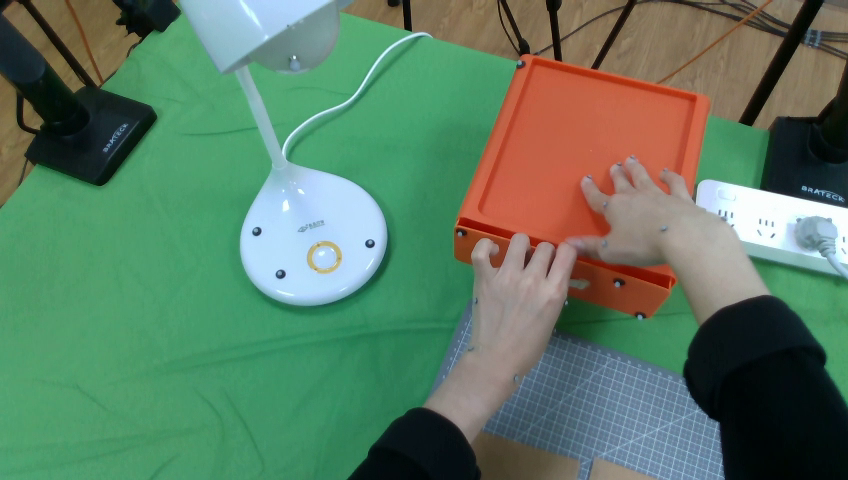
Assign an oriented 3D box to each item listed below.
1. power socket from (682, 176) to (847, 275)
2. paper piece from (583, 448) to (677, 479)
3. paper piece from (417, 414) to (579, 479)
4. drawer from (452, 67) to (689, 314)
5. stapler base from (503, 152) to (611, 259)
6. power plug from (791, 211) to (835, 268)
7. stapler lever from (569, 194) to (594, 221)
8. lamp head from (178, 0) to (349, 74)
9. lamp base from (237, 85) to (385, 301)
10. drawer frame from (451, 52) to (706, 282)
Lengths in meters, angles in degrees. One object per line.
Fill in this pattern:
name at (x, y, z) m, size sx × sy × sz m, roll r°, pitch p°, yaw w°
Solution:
power socket at (0.388, -0.014, 0.649) m, size 0.226 × 0.033 × 0.072 m, roll 14°, pitch 64°, yaw 9°
paper piece at (0.192, 0.267, 0.517) m, size 0.135 × 0.004 × 0.135 m, roll 18°, pitch 64°, yaw 12°
paper piece at (0.057, 0.237, 0.537) m, size 0.135 × 0.009 × 0.137 m, roll 14°, pitch 65°, yaw 13°
drawer at (0.152, -0.055, 0.599) m, size 0.194 × 0.074 × 0.210 m, roll 17°, pitch 64°, yaw 11°
stapler base at (0.132, -0.039, 0.611) m, size 0.041 × 0.024 × 0.129 m, roll -41°, pitch 66°, yaw 3°
power plug at (0.388, 0.002, 0.614) m, size 0.035 × 0.053 × 0.072 m, roll 23°, pitch 65°, yaw 14°
stapler lever at (0.122, -0.046, 0.588) m, size 0.027 × 0.040 × 0.117 m, roll -41°, pitch 65°, yaw 3°
lamp head at (-0.100, -0.170, 0.334) m, size 0.112 × 0.112 × 0.123 m, roll -38°, pitch 105°, yaw -17°
lamp base at (-0.133, -0.053, 0.601) m, size 0.160 × 0.182 × 0.177 m, roll -31°, pitch 62°, yaw -14°
drawer frame at (0.155, -0.066, 0.608) m, size 0.201 × 0.083 × 0.212 m, roll 16°, pitch 65°, yaw 11°
